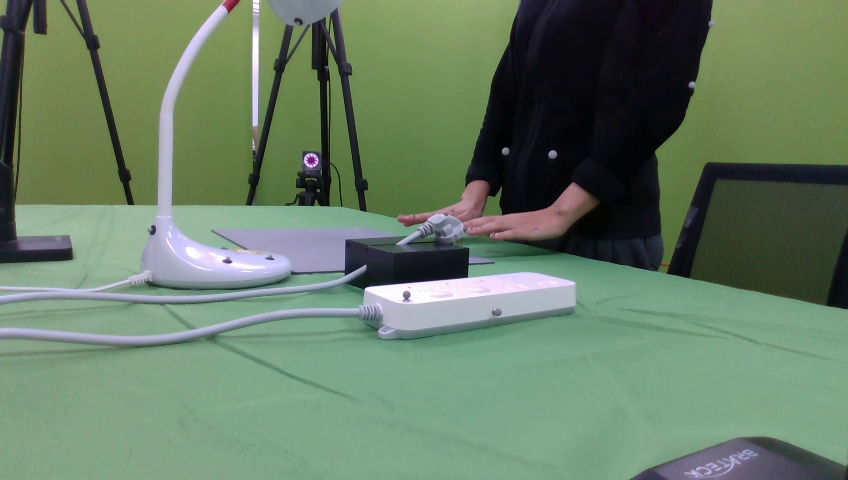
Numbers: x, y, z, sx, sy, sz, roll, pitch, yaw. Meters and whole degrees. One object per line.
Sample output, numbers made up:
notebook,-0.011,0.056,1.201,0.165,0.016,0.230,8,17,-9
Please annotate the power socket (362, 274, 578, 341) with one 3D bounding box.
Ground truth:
power socket,0.048,0.056,0.549,0.228,0.032,0.072,-3,8,-35

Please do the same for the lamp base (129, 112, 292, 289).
lamp base,-0.233,-0.045,0.658,0.160,0.180,0.180,7,11,29

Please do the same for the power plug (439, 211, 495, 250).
power plug,0.048,-0.006,0.683,0.072,0.053,0.035,15,57,40

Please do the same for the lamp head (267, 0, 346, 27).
lamp head,-0.157,-0.326,0.701,0.112,0.112,0.123,6,-16,26
